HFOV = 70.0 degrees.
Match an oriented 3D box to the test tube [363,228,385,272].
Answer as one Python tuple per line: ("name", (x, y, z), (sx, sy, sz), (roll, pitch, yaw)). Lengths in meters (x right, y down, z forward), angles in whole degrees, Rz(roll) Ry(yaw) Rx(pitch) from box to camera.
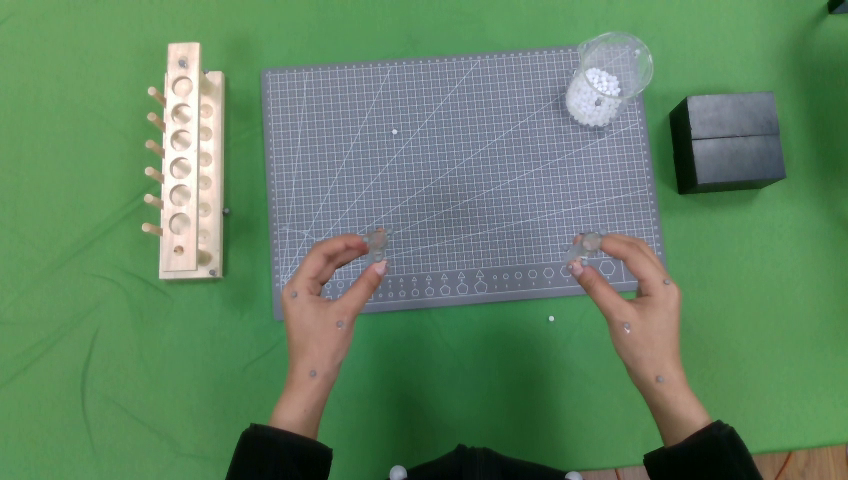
("test tube", (-0.047, 0.012, 0.548), (0.017, 0.150, 0.017), (1, 79, -7))

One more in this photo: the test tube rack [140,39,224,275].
("test tube rack", (-0.267, -0.086, 0.663), (0.067, 0.085, 0.241), (-2, 82, -1))

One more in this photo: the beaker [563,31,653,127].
("beaker", (0.196, -0.175, 0.674), (0.084, 0.100, 0.074), (33, 82, 5))

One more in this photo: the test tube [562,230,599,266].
("test tube", (0.131, 0.009, 0.516), (0.017, 0.151, 0.017), (-1, 83, 8))
